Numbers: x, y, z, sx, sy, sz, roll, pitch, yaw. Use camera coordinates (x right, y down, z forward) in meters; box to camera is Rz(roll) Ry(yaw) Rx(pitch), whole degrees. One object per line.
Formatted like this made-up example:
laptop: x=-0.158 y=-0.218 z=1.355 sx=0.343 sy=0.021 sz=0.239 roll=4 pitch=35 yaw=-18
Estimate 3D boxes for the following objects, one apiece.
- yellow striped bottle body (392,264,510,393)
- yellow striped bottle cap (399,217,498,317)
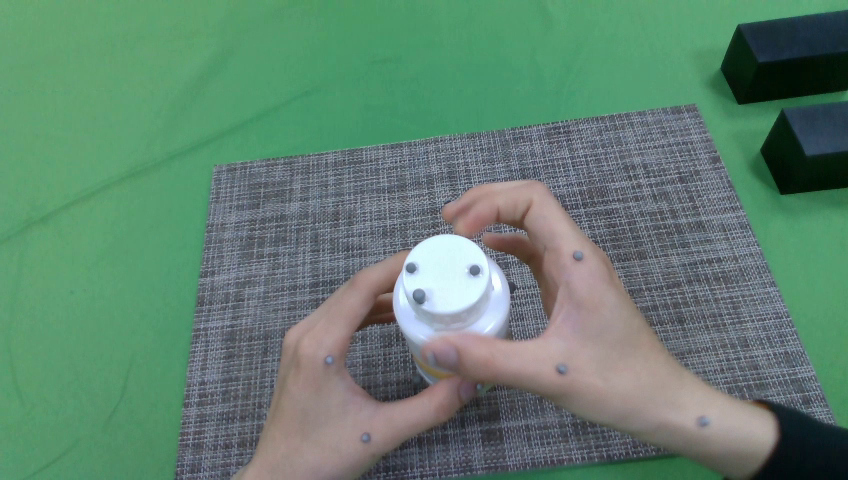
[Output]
yellow striped bottle body: x=0.017 y=0.044 z=0.346 sx=0.063 sy=0.121 sz=0.062 roll=-2 pitch=64 yaw=4
yellow striped bottle cap: x=0.011 y=0.012 z=0.278 sx=0.044 sy=0.019 sz=0.044 roll=1 pitch=62 yaw=-2
